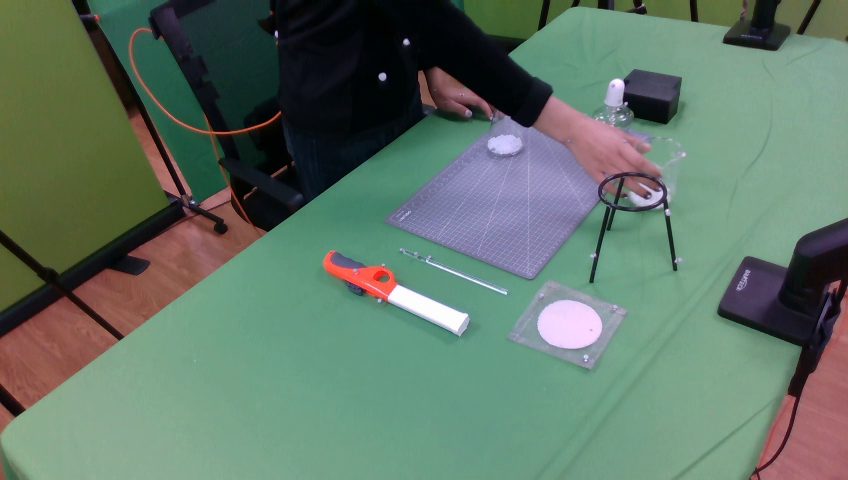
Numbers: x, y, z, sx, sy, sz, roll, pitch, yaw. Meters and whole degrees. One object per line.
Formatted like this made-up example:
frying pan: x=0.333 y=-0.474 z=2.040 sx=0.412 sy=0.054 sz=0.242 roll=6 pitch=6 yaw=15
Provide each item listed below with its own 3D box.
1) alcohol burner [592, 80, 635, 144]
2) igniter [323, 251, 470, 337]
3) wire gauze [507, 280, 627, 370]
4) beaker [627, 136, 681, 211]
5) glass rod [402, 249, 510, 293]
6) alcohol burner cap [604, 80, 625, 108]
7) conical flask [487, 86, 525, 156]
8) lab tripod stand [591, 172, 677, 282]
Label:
alcohol burner: x=0.353 y=-0.242 z=1.126 sx=0.078 sy=0.119 sz=0.077 roll=-5 pitch=38 yaw=5
igniter: x=-0.052 y=0.075 z=0.901 sx=0.274 sy=0.025 sz=0.057 roll=22 pitch=60 yaw=32
wire gauze: x=0.196 y=0.114 z=0.823 sx=0.120 sy=0.011 sz=0.125 roll=20 pitch=50 yaw=31
beaker: x=0.366 y=-0.103 z=0.971 sx=0.074 sy=0.101 sz=0.083 roll=0 pitch=41 yaw=10
glass rod: x=0.045 y=0.046 z=0.931 sx=0.198 sy=0.008 sz=0.008 roll=20 pitch=49 yaw=31
alcohol burner cap: x=0.350 y=-0.268 z=1.102 sx=0.034 sy=0.048 sz=0.033 roll=-2 pitch=46 yaw=2
conical flask: x=0.152 y=-0.226 z=1.140 sx=0.075 sy=0.122 sz=0.075 roll=-5 pitch=40 yaw=5
lab tripod stand: x=0.292 y=-0.022 z=0.867 sx=0.148 sy=0.132 sz=0.147 roll=-7 pitch=39 yaw=6
